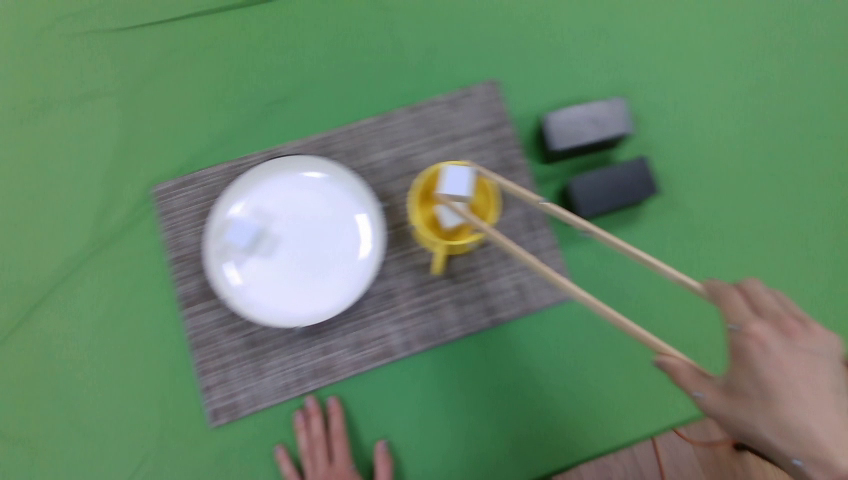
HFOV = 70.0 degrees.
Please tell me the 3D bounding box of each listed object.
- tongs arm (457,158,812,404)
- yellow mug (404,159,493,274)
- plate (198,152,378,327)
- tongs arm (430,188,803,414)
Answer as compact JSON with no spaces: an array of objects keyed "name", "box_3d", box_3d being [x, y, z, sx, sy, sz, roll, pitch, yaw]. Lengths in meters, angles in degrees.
[{"name":"tongs arm","box_3d":[0.155,0.014,0.546,0.381,0.027,0.050,32,79,37]},{"name":"yellow mug","box_3d":[0.024,-0.023,0.712,0.100,0.064,0.130,12,79,1]},{"name":"plate","box_3d":[-0.157,0.001,0.718,0.208,0.039,0.206,0,79,-1]},{"name":"tongs arm","box_3d":[0.136,0.036,0.543,0.028,0.028,0.383,-47,52,-10]}]
